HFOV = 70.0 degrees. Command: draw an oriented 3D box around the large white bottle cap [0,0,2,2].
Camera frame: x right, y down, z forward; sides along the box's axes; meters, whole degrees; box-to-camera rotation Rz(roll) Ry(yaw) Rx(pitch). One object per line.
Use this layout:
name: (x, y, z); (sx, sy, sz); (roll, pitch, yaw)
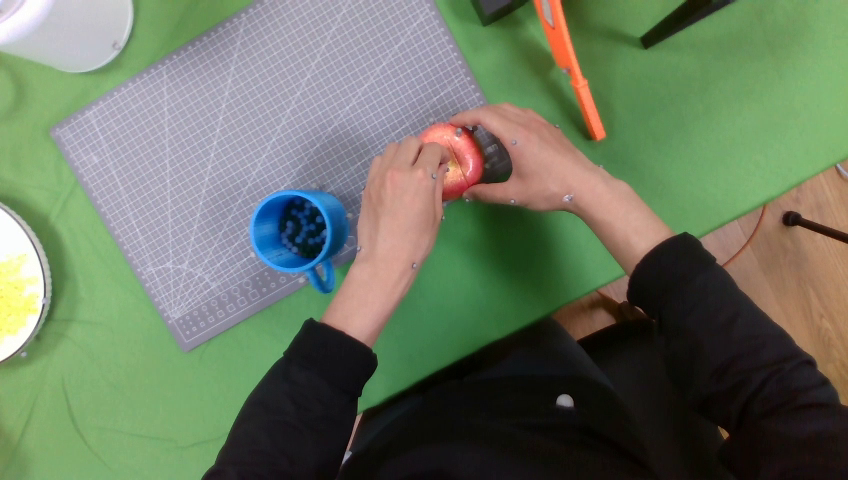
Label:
large white bottle cap: (-0.400, -0.241, 0.505); (0.115, 0.018, 0.115); (0, 96, 2)

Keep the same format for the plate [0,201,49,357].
plate: (-0.532, 0.040, 0.699); (0.209, 0.038, 0.209); (0, 97, 2)

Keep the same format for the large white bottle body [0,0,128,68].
large white bottle body: (-0.396, -0.250, 0.589); (0.130, 0.184, 0.131); (0, 95, 2)

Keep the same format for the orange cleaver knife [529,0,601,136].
orange cleaver knife: (0.138, -0.202, 0.629); (0.012, 0.076, 0.213); (-30, 125, 4)

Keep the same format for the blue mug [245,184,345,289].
blue mug: (-0.128, -0.003, 0.647); (0.082, 0.105, 0.116); (-21, 95, 4)

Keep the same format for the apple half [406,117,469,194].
apple half: (0.009, -0.084, 0.640); (0.053, 0.074, 0.081); (-25, 102, 7)

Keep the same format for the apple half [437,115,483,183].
apple half: (0.044, -0.101, 0.635); (0.033, 0.081, 0.081); (-25, 95, 11)
